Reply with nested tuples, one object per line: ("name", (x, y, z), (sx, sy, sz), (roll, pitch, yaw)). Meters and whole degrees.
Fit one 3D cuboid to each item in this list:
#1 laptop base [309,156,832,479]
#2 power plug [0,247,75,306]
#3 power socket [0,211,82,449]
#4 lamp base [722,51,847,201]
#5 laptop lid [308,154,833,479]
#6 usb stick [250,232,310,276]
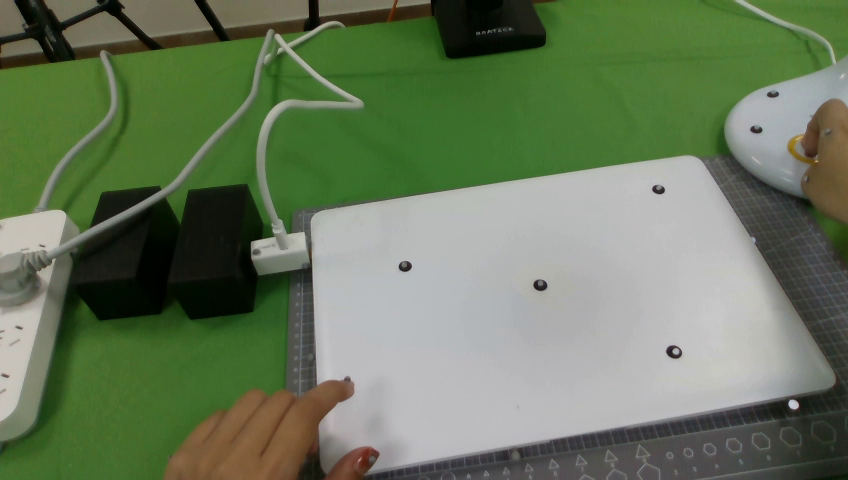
("laptop base", (0.090, 0.043, 0.476), (0.354, 0.023, 0.233), (-9, 54, -3))
("power plug", (-0.304, 0.035, 0.473), (0.072, 0.053, 0.035), (-2, 50, 3))
("power socket", (-0.330, 0.062, 0.483), (0.072, 0.033, 0.224), (-10, 49, -5))
("lamp base", (0.366, -0.154, 0.516), (0.159, 0.182, 0.178), (23, 51, 22))
("laptop lid", (0.089, 0.038, 0.466), (0.357, 0.013, 0.239), (-8, 52, -2))
("usb stick", (-0.112, 0.011, 0.502), (0.059, 0.027, 0.021), (-9, 49, -9))
